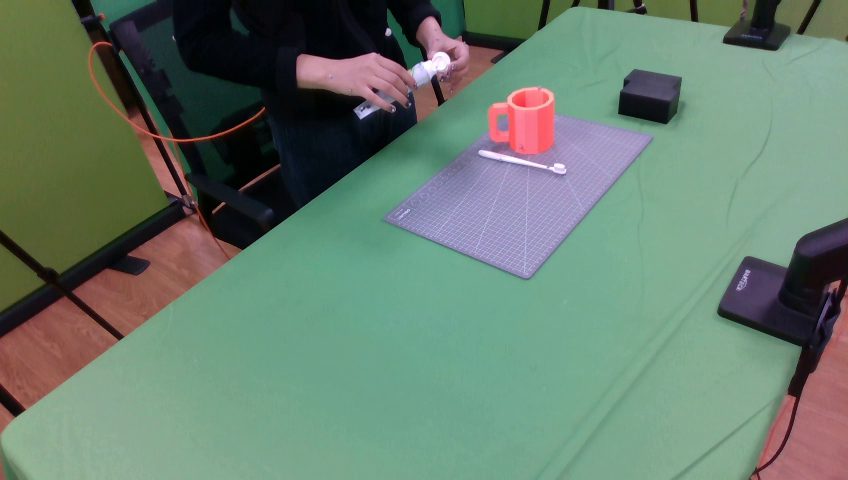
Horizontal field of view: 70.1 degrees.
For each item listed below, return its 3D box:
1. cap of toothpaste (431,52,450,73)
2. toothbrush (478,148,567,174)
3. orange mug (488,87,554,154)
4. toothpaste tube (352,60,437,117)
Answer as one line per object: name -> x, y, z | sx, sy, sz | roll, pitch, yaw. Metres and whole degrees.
cap of toothpaste -> 0.027, -0.313, 1.069 | 0.037, 0.037, 0.011 | 5, 23, 16
toothbrush -> 0.180, -0.149, 1.123 | 0.180, 0.017, 0.014 | 18, 62, 30
orange mug -> 0.185, -0.227, 1.151 | 0.126, 0.101, 0.083 | 0, 41, 5
toothpaste tube -> -0.049, -0.266, 1.056 | 0.165, 0.035, 0.054 | -31, 32, -3
